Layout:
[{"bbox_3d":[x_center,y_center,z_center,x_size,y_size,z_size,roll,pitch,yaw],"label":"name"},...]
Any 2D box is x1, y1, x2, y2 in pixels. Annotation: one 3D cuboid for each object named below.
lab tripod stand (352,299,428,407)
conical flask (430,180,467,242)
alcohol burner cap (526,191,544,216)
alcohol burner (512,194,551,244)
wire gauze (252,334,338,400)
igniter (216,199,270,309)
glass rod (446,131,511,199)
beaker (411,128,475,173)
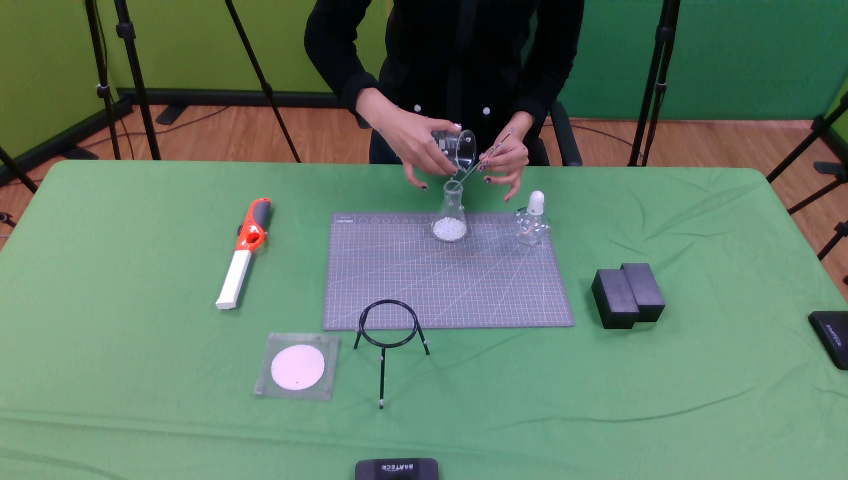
[{"bbox_3d":[-0.056,0.166,0.958,0.148,0.132,0.147,3,44,-2],"label":"lab tripod stand"},{"bbox_3d":[0.052,-0.060,1.188,0.075,0.122,0.075,2,46,-2],"label":"conical flask"},{"bbox_3d":[0.216,-0.073,1.170,0.034,0.048,0.033,0,43,0],"label":"alcohol burner cap"},{"bbox_3d":[0.215,-0.048,1.196,0.078,0.119,0.077,4,46,-4],"label":"alcohol burner"},{"bbox_3d":[-0.209,0.204,0.996,0.125,0.011,0.120,3,45,1],"label":"wire gauze"},{"bbox_3d":[-0.342,0.016,1.153,0.057,0.025,0.275,-3,45,7],"label":"igniter"},{"bbox_3d":[0.096,-0.133,1.102,0.008,0.200,0.008,21,47,-24],"label":"glass rod"},{"bbox_3d":[0.034,-0.166,1.113,0.100,0.084,0.074,10,38,31],"label":"beaker"}]
